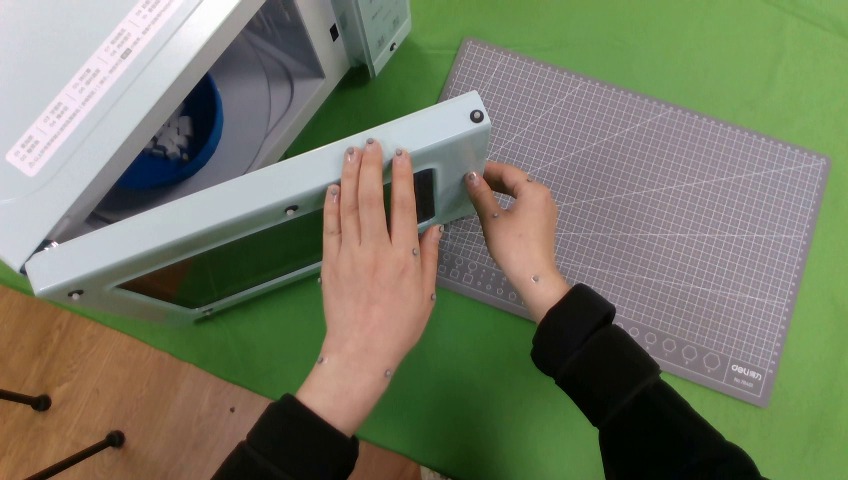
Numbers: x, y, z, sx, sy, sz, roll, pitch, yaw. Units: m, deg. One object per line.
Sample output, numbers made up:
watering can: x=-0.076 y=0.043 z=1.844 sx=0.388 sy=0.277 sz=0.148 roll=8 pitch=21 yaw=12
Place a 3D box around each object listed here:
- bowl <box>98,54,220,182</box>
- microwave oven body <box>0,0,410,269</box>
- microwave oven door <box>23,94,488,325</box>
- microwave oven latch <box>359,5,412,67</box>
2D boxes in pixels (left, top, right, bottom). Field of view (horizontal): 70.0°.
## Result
bowl: x=-0.272 y=-0.120 z=0.619 sx=0.151 sy=0.077 sz=0.150 roll=-1 pitch=75 yaw=3
microwave oven body: x=-0.272 y=-0.203 z=0.604 sx=0.325 sy=0.261 sz=0.441 roll=34 pitch=82 yaw=8
microwave oven door: x=-0.116 y=-0.013 z=0.555 sx=0.356 sy=0.245 sz=0.039 roll=-21 pitch=76 yaw=-3
microwave oven latch: x=-0.045 y=-0.242 z=0.706 sx=0.030 sy=0.029 sz=0.079 roll=37 pitch=82 yaw=8
